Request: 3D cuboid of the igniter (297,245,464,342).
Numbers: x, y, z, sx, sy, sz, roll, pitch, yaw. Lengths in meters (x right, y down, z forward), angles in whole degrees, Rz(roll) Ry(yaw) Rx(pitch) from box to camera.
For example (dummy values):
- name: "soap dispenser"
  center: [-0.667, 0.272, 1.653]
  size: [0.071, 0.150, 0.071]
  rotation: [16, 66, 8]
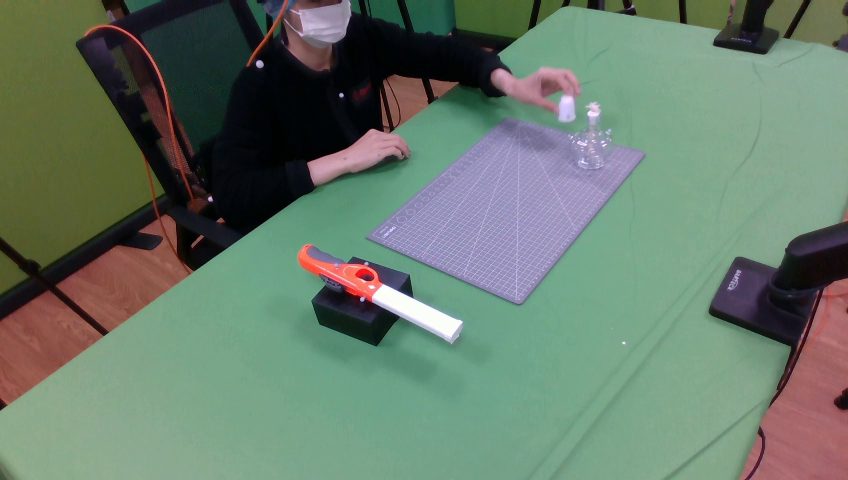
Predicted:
- name: "igniter"
  center: [-0.070, 0.068, 0.827]
  size: [0.274, 0.025, 0.057]
  rotation: [23, 49, 25]

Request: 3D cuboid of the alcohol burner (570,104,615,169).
- name: "alcohol burner"
  center: [0.299, -0.187, 1.071]
  size: [0.078, 0.119, 0.077]
  rotation: [-6, 41, 6]

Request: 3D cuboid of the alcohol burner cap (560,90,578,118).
- name: "alcohol burner cap"
  center: [0.267, -0.253, 1.117]
  size: [0.034, 0.048, 0.033]
  rotation: [-9, 37, 8]
